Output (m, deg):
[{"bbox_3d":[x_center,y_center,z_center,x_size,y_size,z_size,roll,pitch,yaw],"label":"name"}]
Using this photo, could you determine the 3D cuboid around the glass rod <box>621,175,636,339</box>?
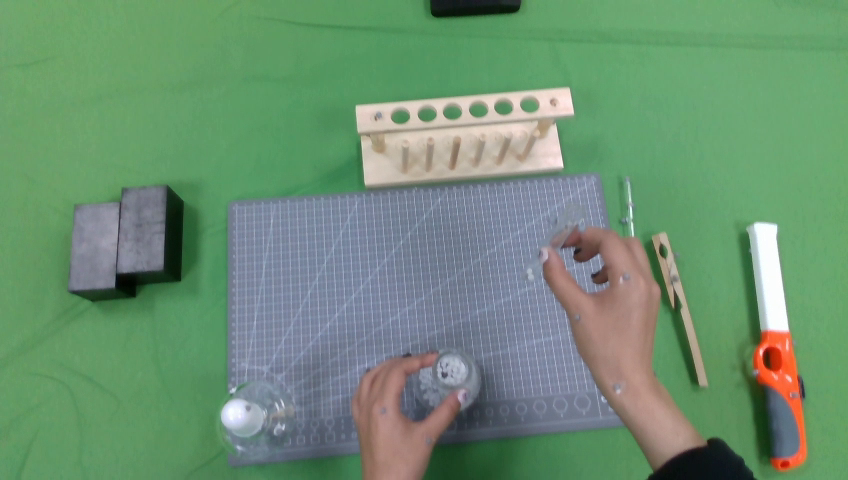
[{"bbox_3d":[0.240,0.017,0.712,0.008,0.008,0.198,2,76,-1],"label":"glass rod"}]

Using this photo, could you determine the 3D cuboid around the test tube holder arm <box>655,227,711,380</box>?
[{"bbox_3d":[0.293,0.070,0.691,0.013,0.015,0.177,-23,71,30],"label":"test tube holder arm"}]

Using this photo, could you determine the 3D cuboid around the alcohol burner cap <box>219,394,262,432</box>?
[{"bbox_3d":[-0.173,0.159,0.564,0.034,0.048,0.033,0,64,0],"label":"alcohol burner cap"}]

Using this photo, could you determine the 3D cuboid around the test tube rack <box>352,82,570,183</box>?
[{"bbox_3d":[0.042,-0.124,0.709,0.242,0.085,0.066,-6,73,-3],"label":"test tube rack"}]

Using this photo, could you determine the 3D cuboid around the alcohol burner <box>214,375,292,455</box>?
[{"bbox_3d":[-0.173,0.171,0.598,0.078,0.120,0.077,0,72,1],"label":"alcohol burner"}]

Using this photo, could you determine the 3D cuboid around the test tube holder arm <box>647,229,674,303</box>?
[{"bbox_3d":[0.279,0.030,0.706,0.010,0.015,0.087,-22,72,31],"label":"test tube holder arm"}]

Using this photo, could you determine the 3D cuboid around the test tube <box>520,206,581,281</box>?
[{"bbox_3d":[0.104,0.007,0.517,0.017,0.151,0.017,1,69,-3],"label":"test tube"}]

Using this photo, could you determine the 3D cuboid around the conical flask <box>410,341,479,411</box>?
[{"bbox_3d":[0.023,0.133,0.610,0.075,0.122,0.075,0,73,-1],"label":"conical flask"}]

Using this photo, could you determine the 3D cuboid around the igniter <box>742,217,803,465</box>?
[{"bbox_3d":[0.389,0.107,0.680,0.057,0.025,0.275,5,73,-10],"label":"igniter"}]
